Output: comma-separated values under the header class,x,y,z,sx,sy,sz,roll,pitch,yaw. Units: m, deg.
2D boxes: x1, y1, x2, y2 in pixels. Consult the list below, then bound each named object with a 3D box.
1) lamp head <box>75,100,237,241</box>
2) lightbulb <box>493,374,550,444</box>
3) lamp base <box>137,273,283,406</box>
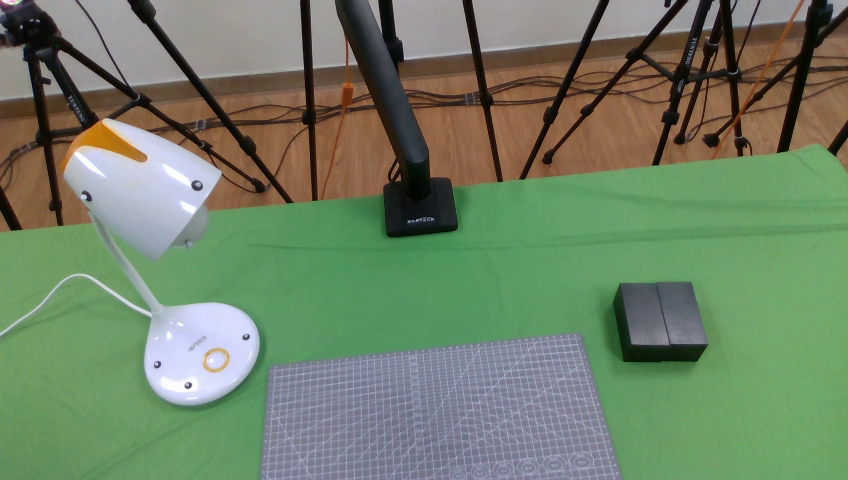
class,x,y,z,sx,sy,sz,roll,pitch,yaw
lamp head,-0.259,-0.071,0.574,0.124,0.112,0.111,28,50,-22
lightbulb,0.121,0.215,0.787,0.059,0.060,0.106,-20,39,-12
lamp base,-0.296,0.112,0.802,0.179,0.182,0.159,7,53,11
